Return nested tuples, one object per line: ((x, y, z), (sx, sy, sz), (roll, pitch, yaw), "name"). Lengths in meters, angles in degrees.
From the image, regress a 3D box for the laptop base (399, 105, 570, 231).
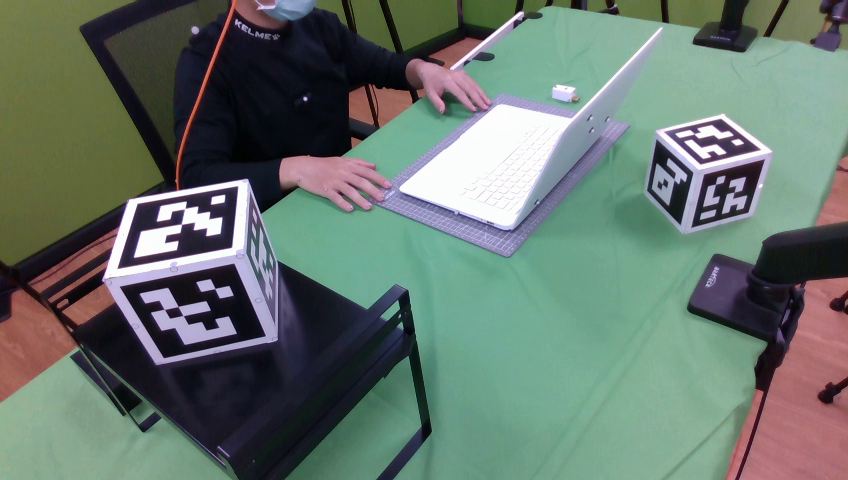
((0.149, -0.147, 1.123), (0.233, 0.023, 0.355), (20, 47, 32), "laptop base")

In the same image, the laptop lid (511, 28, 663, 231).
((0.265, -0.179, 0.972), (0.013, 0.242, 0.357), (36, 53, 14), "laptop lid")

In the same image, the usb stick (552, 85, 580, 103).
((0.303, -0.308, 1.282), (0.059, 0.027, 0.021), (25, 46, 29), "usb stick")
